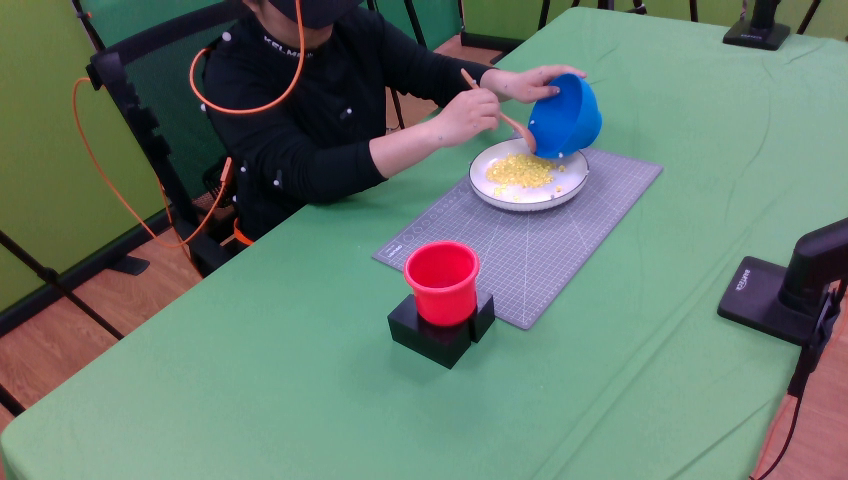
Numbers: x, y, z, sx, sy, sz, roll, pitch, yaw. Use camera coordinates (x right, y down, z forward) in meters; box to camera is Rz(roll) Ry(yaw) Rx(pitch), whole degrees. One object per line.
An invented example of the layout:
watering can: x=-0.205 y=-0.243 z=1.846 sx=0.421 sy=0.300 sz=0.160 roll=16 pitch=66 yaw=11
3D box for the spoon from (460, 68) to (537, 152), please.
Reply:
spoon: x=0.130 y=-0.223 z=1.043 sx=0.194 sy=0.021 sz=0.041 roll=40 pitch=33 yaw=-11

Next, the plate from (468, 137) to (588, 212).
plate: x=0.182 y=-0.112 z=1.064 sx=0.207 sy=0.039 sz=0.206 roll=-5 pitch=40 yaw=5

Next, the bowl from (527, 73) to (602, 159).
bowl: x=0.256 y=-0.206 z=1.055 sx=0.077 sy=0.151 sz=0.150 roll=15 pitch=33 yaw=-25
